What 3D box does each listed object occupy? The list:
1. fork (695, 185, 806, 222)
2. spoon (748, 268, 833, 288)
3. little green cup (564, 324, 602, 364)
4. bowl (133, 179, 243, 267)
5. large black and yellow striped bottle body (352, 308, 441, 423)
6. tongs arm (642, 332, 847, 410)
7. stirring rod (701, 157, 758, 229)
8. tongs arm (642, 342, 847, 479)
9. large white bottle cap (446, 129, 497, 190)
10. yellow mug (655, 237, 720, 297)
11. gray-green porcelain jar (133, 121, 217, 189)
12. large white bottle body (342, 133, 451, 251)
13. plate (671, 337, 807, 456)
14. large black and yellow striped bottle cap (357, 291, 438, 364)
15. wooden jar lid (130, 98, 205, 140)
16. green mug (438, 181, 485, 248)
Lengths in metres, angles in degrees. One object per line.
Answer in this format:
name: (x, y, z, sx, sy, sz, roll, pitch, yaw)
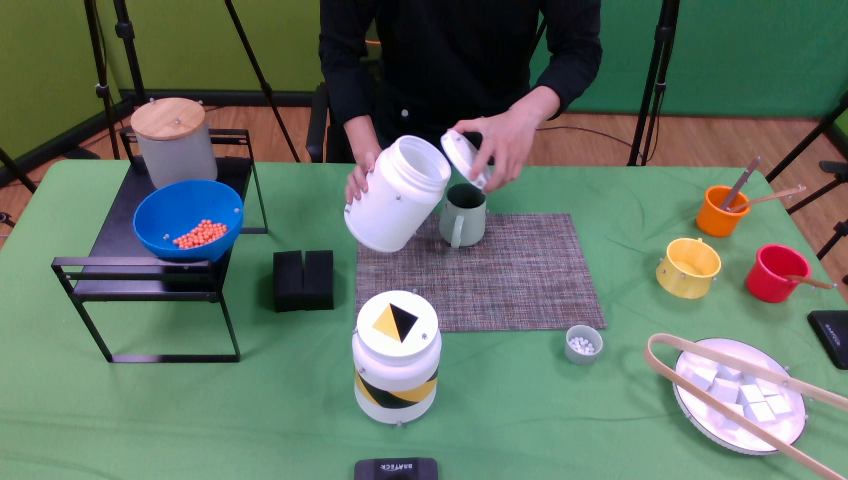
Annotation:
fork: (0.658, -0.074, 1.230, 0.207, 0.019, 0.028, -23, 36, 37)
spoon: (0.660, 0.068, 1.097, 0.041, 0.193, 0.021, -4, 91, -6)
little green cup: (0.269, 0.180, 1.035, 0.061, 0.039, 0.061, 2, 45, -2)
bowl: (-0.339, -0.013, 0.895, 0.151, 0.077, 0.150, 2, 46, -2)
large black and yellow striped bottle body: (-0.042, 0.178, 0.913, 0.131, 0.185, 0.130, 2, 46, -2)
tongs arm: (0.546, 0.227, 0.968, 0.384, 0.026, 0.050, 22, 52, 13)
stirring rod: (0.634, -0.097, 1.257, 0.014, 0.006, 0.176, 38, 97, 29)
tongs arm: (0.504, 0.279, 0.918, 0.386, 0.028, 0.028, 33, 59, 22)
large white bottle cap: (0.080, -0.135, 1.010, 0.115, 0.018, 0.114, 42, 25, -24)
yellow mug: (0.509, 0.041, 1.167, 0.099, 0.064, 0.130, 24, 48, 18)
gray-green porcelain jar: (-0.397, -0.141, 0.980, 0.106, 0.127, 0.105, 2, 47, -2)
large white bottle body: (-0.047, -0.084, 1.060, 0.131, 0.185, 0.130, 25, 38, -21)
plate: (0.504, 0.254, 0.984, 0.208, 0.039, 0.206, 2, 46, -2)
large black and yellow striped bottle cap: (-0.037, 0.121, 0.851, 0.115, 0.019, 0.114, 1, 46, -1)
wooden jar lid: (-0.393, -0.183, 0.934, 0.108, 0.021, 0.107, 3, 43, -2)
green mug: (0.071, -0.039, 1.178, 0.092, 0.105, 0.124, 12, 47, 7)
